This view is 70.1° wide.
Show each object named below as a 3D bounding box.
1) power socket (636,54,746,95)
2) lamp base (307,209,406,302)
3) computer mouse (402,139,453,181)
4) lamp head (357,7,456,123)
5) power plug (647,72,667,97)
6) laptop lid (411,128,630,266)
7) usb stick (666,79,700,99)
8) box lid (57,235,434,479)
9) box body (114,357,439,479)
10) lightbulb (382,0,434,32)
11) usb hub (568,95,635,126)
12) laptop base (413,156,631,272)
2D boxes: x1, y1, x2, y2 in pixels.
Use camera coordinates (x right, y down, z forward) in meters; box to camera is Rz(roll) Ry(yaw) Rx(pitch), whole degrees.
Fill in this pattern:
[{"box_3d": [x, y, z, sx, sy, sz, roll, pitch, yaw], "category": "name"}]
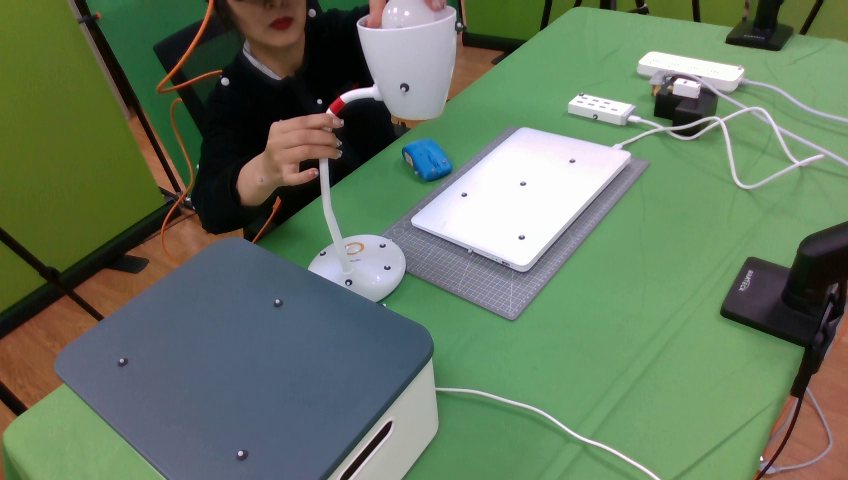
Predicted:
[{"box_3d": [0.564, -0.357, 1.293, 0.225, 0.033, 0.072, 24, 51, 33], "category": "power socket"}, {"box_3d": [-0.116, -0.003, 0.889, 0.161, 0.181, 0.178, -15, 43, -5], "category": "lamp base"}, {"box_3d": [0.005, -0.159, 1.166, 0.063, 0.041, 0.116, -21, 45, -17], "category": "computer mouse"}, {"box_3d": [-0.018, -0.198, 0.701, 0.112, 0.123, 0.112, -1, 33, 1], "category": "lamp head"}, {"box_3d": [0.493, -0.321, 1.261, 0.073, 0.052, 0.035, 1, 21, -41], "category": "power plug"}, {"box_3d": [0.172, -0.093, 1.049, 0.239, 0.013, 0.358, 24, 50, 36], "category": "laptop lid"}, {"box_3d": [0.492, -0.288, 1.152, 0.058, 0.027, 0.021, 20, 50, 34], "category": "usb stick"}, {"box_3d": [-0.198, 0.123, 0.653, 0.368, 0.015, 0.264, 22, 49, 32], "category": "box lid"}, {"box_3d": [-0.189, 0.178, 0.702, 0.361, 0.161, 0.255, 22, 49, 32], "category": "box body"}, {"box_3d": [-0.015, -0.223, 0.693, 0.059, 0.108, 0.059, -6, 27, 4], "category": "lightbulb"}, {"box_3d": [0.360, -0.263, 1.228, 0.124, 0.025, 0.049, 24, 49, 34], "category": "usb hub"}, {"box_3d": [0.176, -0.084, 1.056, 0.233, 0.023, 0.355, 21, 48, 36], "category": "laptop base"}]
